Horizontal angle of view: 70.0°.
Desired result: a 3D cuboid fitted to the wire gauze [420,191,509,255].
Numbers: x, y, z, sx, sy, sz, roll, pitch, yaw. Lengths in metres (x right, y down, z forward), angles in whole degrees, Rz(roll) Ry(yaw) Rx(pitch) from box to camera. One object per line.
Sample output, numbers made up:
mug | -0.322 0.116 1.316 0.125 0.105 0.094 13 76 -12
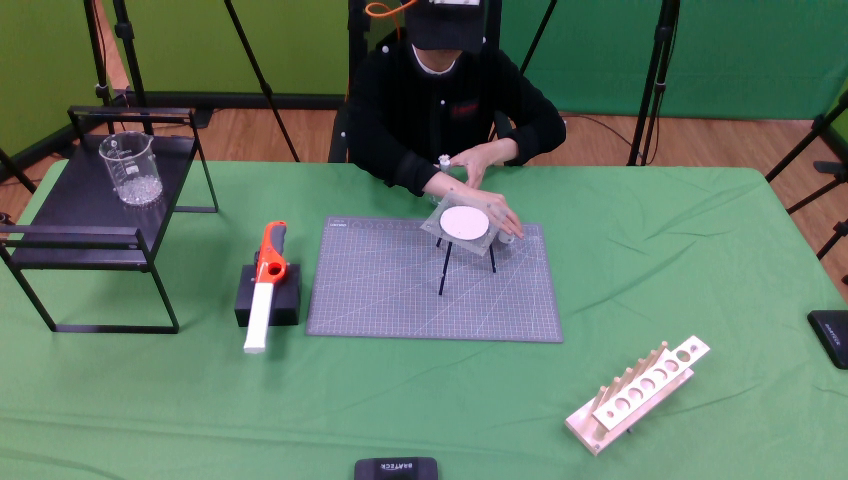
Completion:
wire gauze | 0.072 -0.035 1.058 0.125 0.011 0.121 21 48 18

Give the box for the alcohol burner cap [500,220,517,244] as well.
alcohol burner cap | 0.170 -0.019 1.205 0.034 0.048 0.033 -1 45 1

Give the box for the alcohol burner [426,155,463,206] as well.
alcohol burner | 0.044 -0.128 1.258 0.078 0.119 0.077 3 46 -3

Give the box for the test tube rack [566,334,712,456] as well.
test tube rack | 0.339 0.228 0.950 0.242 0.085 0.066 -26 52 -26

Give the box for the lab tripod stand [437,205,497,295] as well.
lab tripod stand | 0.066 0.010 1.107 0.148 0.132 0.147 0 46 0

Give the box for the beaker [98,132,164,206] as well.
beaker | -0.460 -0.112 0.968 0.073 0.101 0.084 37 54 28

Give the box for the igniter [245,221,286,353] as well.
igniter | -0.270 0.070 1.040 0.057 0.025 0.274 2 48 -6
